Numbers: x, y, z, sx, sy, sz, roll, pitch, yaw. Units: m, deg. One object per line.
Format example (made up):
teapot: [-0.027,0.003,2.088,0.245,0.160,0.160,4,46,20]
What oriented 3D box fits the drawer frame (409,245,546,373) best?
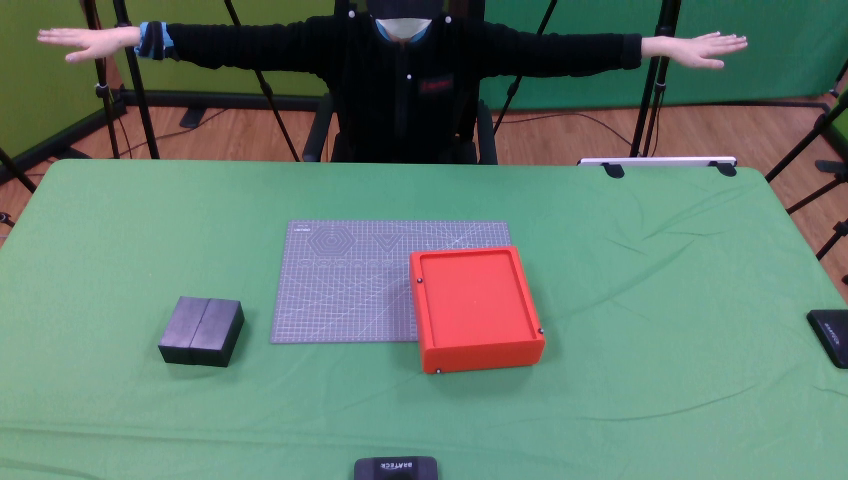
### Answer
drawer frame: [0.084,0.113,1.049,0.202,0.083,0.212,-4,47,-8]

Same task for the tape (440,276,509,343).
tape: [0.086,0.120,1.053,0.117,0.053,0.116,2,46,-2]

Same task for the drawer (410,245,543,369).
drawer: [0.083,0.111,1.051,0.195,0.073,0.210,-3,47,-8]
